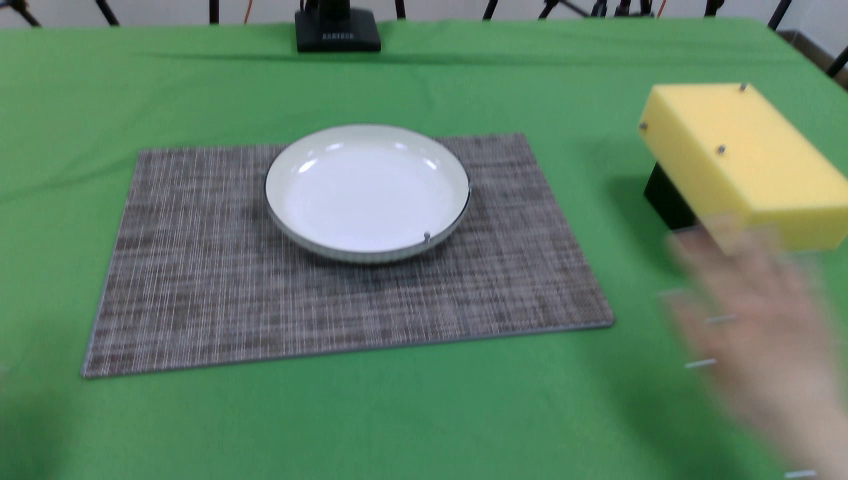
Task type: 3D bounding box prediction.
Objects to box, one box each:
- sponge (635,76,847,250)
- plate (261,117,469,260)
[{"bbox_3d":[0.316,-0.086,0.612,0.118,0.061,0.204,-4,46,-10],"label":"sponge"},{"bbox_3d":[-0.059,-0.052,0.623,0.208,0.039,0.205,3,45,-3],"label":"plate"}]
